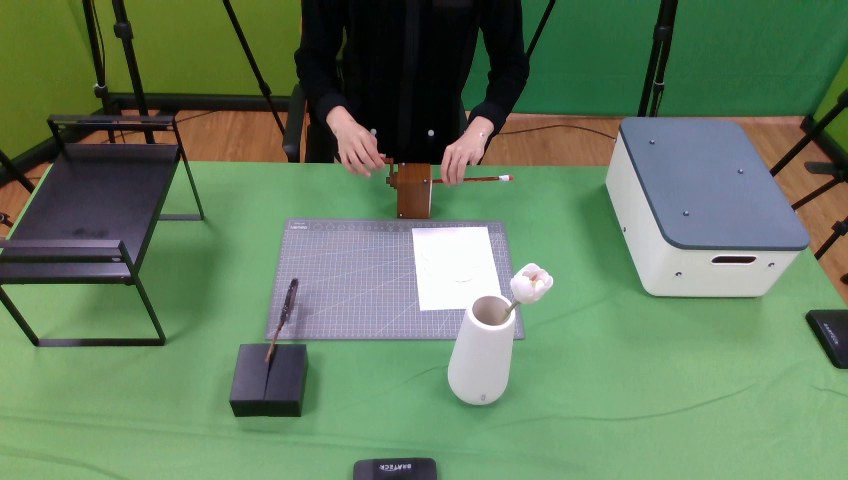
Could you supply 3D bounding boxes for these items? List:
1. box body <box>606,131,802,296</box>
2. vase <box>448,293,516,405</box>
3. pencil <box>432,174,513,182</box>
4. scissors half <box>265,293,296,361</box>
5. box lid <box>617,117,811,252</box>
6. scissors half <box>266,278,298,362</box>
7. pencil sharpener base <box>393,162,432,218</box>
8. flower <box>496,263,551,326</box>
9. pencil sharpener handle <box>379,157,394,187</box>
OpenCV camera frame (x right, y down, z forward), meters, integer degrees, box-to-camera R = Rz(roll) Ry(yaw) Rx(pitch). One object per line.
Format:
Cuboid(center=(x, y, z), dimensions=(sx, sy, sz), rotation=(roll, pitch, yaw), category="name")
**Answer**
Cuboid(center=(0.530, -0.067, 1.204), dimensions=(0.254, 0.161, 0.361), rotation=(0, 46, -4), category="box body")
Cuboid(center=(0.091, 0.169, 0.921), dimensions=(0.098, 0.201, 0.097), rotation=(3, 47, -3), category="vase")
Cuboid(center=(0.084, -0.123, 1.219), dimensions=(0.194, 0.012, 0.012), rotation=(-3, 47, -2), category="pencil")
Cuboid(center=(-0.239, 0.143, 1.004), dimensions=(0.013, 0.040, 0.174), rotation=(17, 28, -6), category="scissors half")
Cuboid(center=(0.534, -0.117, 1.148), dimensions=(0.263, 0.015, 0.369), rotation=(0, 47, -3), category="box lid")
Cuboid(center=(-0.234, 0.127, 0.993), dimensions=(0.013, 0.040, 0.174), rotation=(12, 46, -3), category="scissors half")
Cuboid(center=(-0.025, -0.101, 1.234), dimensions=(0.077, 0.107, 0.061), rotation=(1, 47, -2), category="pencil sharpener base")
Cuboid(center=(0.102, 0.120, 0.853), dimensions=(0.044, 0.363, 0.038), rotation=(-2, 64, -10), category="flower")
Cuboid(center=(-0.074, -0.134, 1.202), dimensions=(0.030, 0.068, 0.036), rotation=(1, 34, -2), category="pencil sharpener handle")
